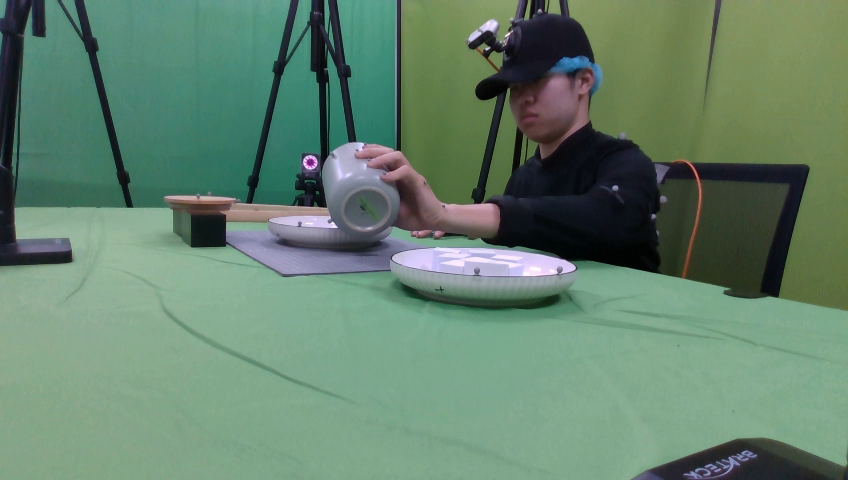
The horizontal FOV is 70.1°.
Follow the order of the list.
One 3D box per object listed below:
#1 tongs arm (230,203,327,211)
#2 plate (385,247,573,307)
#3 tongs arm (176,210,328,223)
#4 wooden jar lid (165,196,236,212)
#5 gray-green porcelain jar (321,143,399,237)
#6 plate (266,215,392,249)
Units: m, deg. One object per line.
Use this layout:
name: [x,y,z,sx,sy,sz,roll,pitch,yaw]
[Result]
tongs arm: [-0.362,-0.068,1.406,0.386,0.026,0.050,2,9,-14]
plate: [0.060,0.041,0.678,0.208,0.039,0.207,3,7,0]
tongs arm: [-0.337,-0.053,1.329,0.389,0.028,0.028,-1,6,-27]
wooden jar lid: [-0.369,-0.060,1.001,0.108,0.020,0.108,3,6,0]
gray-green porcelain jar: [-0.095,-0.071,0.890,0.106,0.106,0.126,1,30,-15]
plate: [-0.159,-0.015,1.019,0.209,0.038,0.209,3,7,0]
